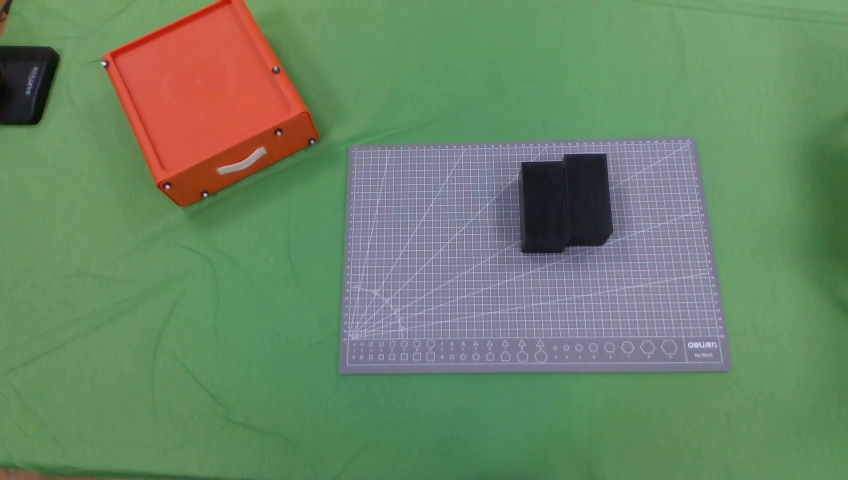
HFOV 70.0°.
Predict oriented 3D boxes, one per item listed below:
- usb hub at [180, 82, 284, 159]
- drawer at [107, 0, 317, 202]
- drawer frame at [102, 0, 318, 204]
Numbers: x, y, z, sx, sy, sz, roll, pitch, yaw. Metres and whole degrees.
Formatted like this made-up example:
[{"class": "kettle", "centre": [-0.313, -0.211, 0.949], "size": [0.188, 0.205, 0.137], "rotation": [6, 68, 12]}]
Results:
[{"class": "usb hub", "centre": [-0.250, -0.157, 0.793], "size": [0.125, 0.025, 0.049], "rotation": [-28, 74, -6]}, {"class": "drawer", "centre": [-0.274, -0.184, 0.787], "size": [0.194, 0.074, 0.210], "rotation": [-29, 73, -6]}, {"class": "drawer frame", "centre": [-0.276, -0.185, 0.787], "size": [0.202, 0.083, 0.212], "rotation": [-29, 71, -7]}]
